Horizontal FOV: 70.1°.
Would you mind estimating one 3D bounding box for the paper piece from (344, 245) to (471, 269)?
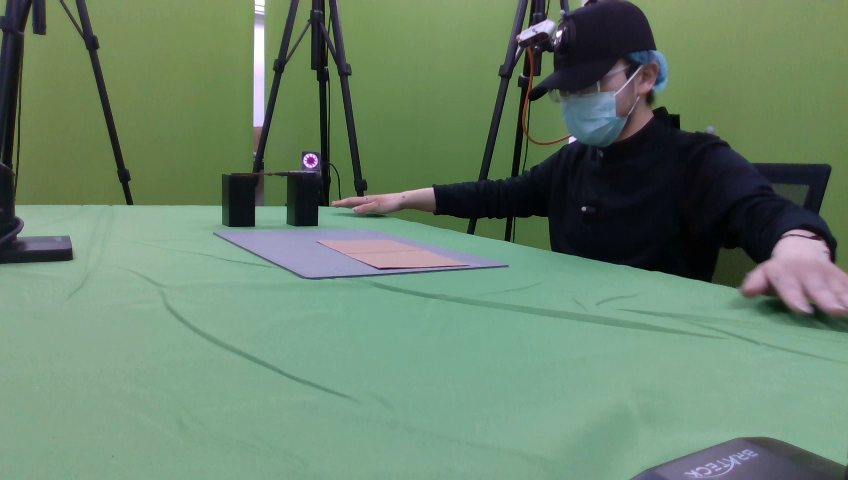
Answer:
[{"bbox_3d":[-0.027,0.024,0.847,0.137,0.008,0.137,-5,11,-26],"label":"paper piece"}]

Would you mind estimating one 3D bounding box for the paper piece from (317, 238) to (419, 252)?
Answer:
[{"bbox_3d":[-0.088,0.006,0.964,0.136,0.004,0.135,-3,8,-27],"label":"paper piece"}]

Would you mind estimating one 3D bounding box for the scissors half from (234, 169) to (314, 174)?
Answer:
[{"bbox_3d":[-0.304,-0.138,1.228,0.176,0.013,0.040,-7,18,-41],"label":"scissors half"}]

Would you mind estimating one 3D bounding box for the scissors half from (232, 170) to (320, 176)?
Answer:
[{"bbox_3d":[-0.293,-0.133,1.212,0.176,0.013,0.040,-2,10,-24],"label":"scissors half"}]
